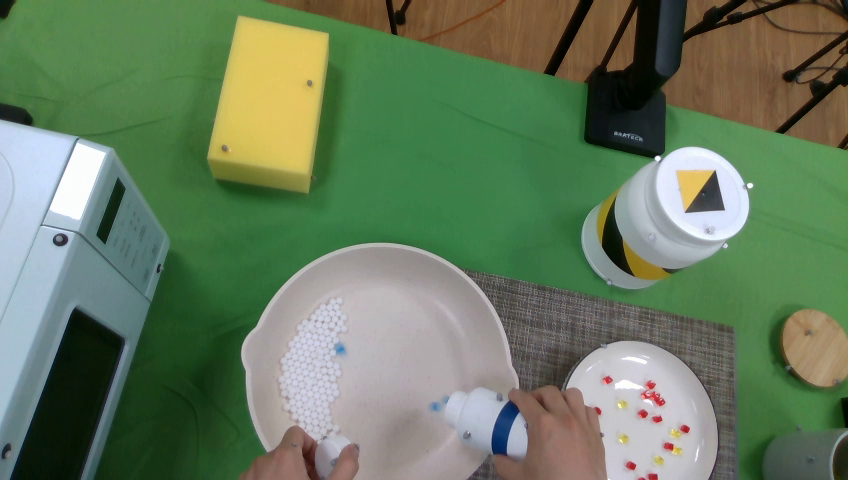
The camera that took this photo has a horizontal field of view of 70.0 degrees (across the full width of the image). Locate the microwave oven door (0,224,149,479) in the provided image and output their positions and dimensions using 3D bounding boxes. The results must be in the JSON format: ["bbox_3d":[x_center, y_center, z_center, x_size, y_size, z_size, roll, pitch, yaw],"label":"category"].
[{"bbox_3d":[-0.333,0.186,0.516,0.039,0.244,0.353,12,70,-7],"label":"microwave oven door"}]

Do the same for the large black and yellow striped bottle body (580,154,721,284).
[{"bbox_3d":[0.291,-0.028,0.761,0.131,0.184,0.130,3,71,-10],"label":"large black and yellow striped bottle body"}]

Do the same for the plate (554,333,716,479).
[{"bbox_3d":[0.256,0.221,0.748,0.210,0.038,0.208,3,72,-10],"label":"plate"}]

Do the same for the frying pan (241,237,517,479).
[{"bbox_3d":[-0.063,0.234,0.645,0.307,0.103,0.484,11,63,-5],"label":"frying pan"}]

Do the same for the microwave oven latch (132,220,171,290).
[{"bbox_3d":[-0.311,0.015,0.684,0.030,0.029,0.078,15,71,-6],"label":"microwave oven latch"}]

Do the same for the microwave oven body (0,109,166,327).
[{"bbox_3d":[-0.468,0.116,0.517,0.327,0.261,0.439,13,71,-7],"label":"microwave oven body"}]

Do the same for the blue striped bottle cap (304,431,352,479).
[{"bbox_3d":[-0.091,0.204,0.574,0.044,0.021,0.044,-9,67,22],"label":"blue striped bottle cap"}]

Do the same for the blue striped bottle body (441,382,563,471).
[{"bbox_3d":[0.078,0.189,0.633,0.120,0.064,0.063,14,66,29],"label":"blue striped bottle body"}]

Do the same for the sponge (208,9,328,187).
[{"bbox_3d":[-0.195,-0.181,0.777,0.118,0.061,0.205,7,72,-9],"label":"sponge"}]

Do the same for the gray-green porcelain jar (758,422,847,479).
[{"bbox_3d":[0.484,0.276,0.733,0.106,0.127,0.105,3,71,-10],"label":"gray-green porcelain jar"}]

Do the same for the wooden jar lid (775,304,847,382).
[{"bbox_3d":[0.537,0.143,0.843,0.109,0.021,0.108,3,73,-10],"label":"wooden jar lid"}]

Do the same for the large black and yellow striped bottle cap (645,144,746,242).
[{"bbox_3d":[0.306,-0.054,0.681,0.115,0.019,0.114,4,70,-10],"label":"large black and yellow striped bottle cap"}]
